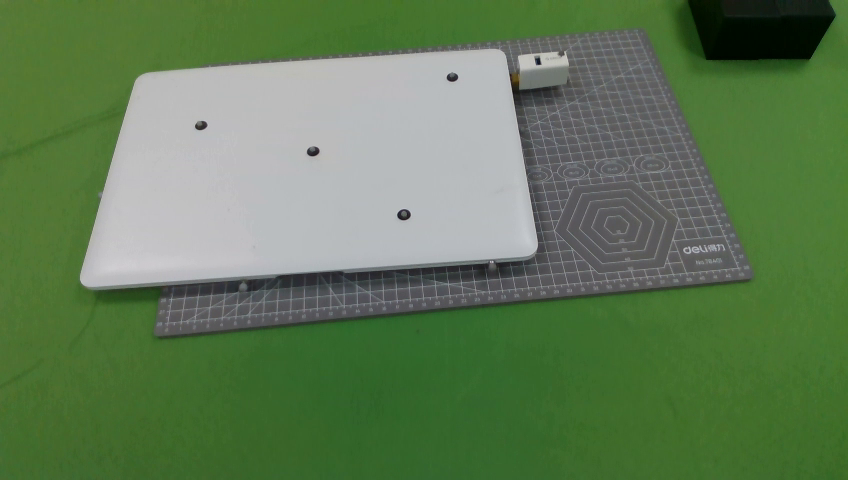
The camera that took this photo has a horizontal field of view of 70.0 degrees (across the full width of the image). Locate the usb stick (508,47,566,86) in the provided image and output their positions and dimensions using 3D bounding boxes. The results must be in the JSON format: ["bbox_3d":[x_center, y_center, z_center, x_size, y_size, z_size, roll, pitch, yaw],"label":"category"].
[{"bbox_3d":[0.099,-0.159,0.558,0.059,0.027,0.021,-6,58,5],"label":"usb stick"}]

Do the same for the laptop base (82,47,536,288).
[{"bbox_3d":[-0.094,-0.071,0.526,0.354,0.023,0.233,-4,60,0],"label":"laptop base"}]

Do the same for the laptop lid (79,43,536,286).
[{"bbox_3d":[-0.095,-0.076,0.515,0.357,0.013,0.239,-3,59,1],"label":"laptop lid"}]
